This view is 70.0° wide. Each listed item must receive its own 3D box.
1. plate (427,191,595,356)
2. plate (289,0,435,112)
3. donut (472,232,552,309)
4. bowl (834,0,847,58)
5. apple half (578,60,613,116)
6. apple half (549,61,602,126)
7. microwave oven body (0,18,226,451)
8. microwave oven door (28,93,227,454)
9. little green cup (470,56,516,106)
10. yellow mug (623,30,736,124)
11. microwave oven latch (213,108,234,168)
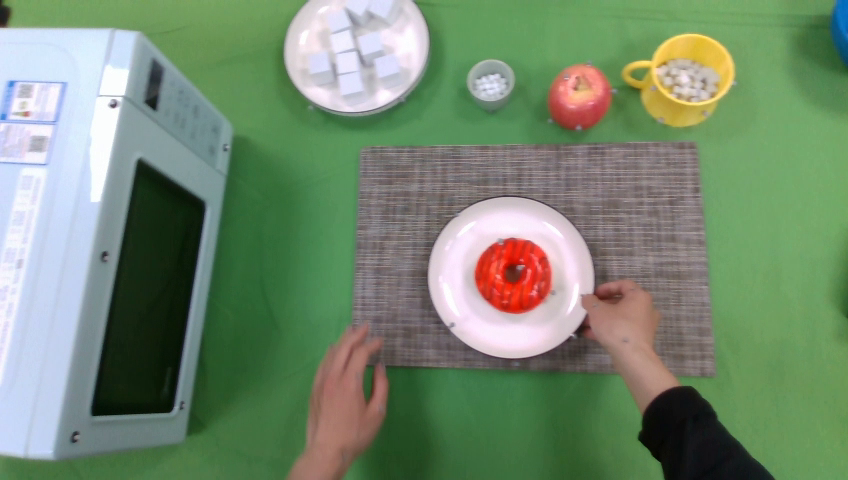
[{"bbox_3d":[0.108,0.041,0.765,0.209,0.038,0.208,-1,77,6],"label":"plate"},{"bbox_3d":[-0.087,-0.275,0.863,0.207,0.039,0.206,-1,77,6],"label":"plate"},{"bbox_3d":[0.109,0.038,0.753,0.099,0.048,0.098,-1,79,7],"label":"donut"},{"bbox_3d":[0.588,-0.269,0.765,0.151,0.077,0.150,-2,77,7],"label":"bowl"},{"bbox_3d":[0.227,-0.201,0.792,0.033,0.082,0.081,-27,75,5],"label":"apple half"},{"bbox_3d":[0.192,-0.184,0.793,0.053,0.075,0.080,-26,79,5],"label":"apple half"},{"bbox_3d":[-0.456,0.000,0.722,0.325,0.261,0.439,3,78,7],"label":"microwave oven body"},{"bbox_3d":[-0.317,0.048,0.690,0.039,0.245,0.354,3,77,8],"label":"microwave oven door"},{"bbox_3d":[0.094,-0.215,0.829,0.061,0.039,0.061,-1,77,7],"label":"little green cup"},{"bbox_3d":[0.326,-0.213,0.788,0.130,0.064,0.099,11,78,10],"label":"yellow mug"},{"bbox_3d":[-0.283,-0.141,0.835,0.030,0.029,0.079,5,78,7],"label":"microwave oven latch"}]
